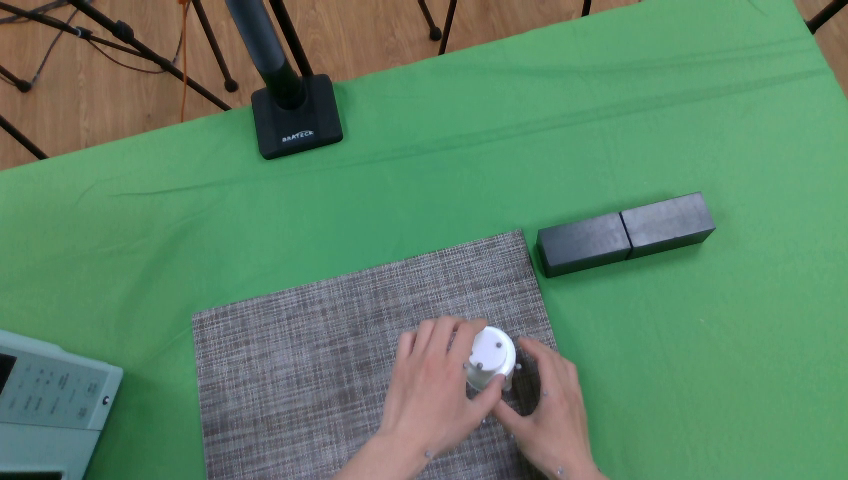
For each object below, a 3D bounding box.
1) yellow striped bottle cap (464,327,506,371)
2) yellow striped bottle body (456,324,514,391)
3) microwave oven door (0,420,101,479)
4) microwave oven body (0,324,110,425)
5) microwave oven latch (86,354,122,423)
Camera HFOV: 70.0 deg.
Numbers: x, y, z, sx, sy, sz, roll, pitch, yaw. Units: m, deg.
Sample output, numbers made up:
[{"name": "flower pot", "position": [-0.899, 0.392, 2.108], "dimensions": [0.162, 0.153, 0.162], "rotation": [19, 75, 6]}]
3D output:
[{"name": "yellow striped bottle cap", "position": [0.064, 0.114, 0.636], "dimensions": [0.044, 0.019, 0.044], "rotation": [-3, 71, 8]}, {"name": "yellow striped bottle body", "position": [0.069, 0.132, 0.685], "dimensions": [0.063, 0.121, 0.062], "rotation": [-2, 70, 6]}, {"name": "microwave oven door", "position": [-0.471, 0.350, 0.588], "dimensions": [0.039, 0.245, 0.354], "rotation": [12, 72, 11]}, {"name": "microwave oven body", "position": [-0.600, 0.284, 0.631], "dimensions": [0.325, 0.262, 0.439], "rotation": [12, 73, 10]}, {"name": "microwave oven latch", "position": [-0.403, 0.183, 0.748], "dimensions": [0.030, 0.030, 0.079], "rotation": [14, 74, 10]}]
